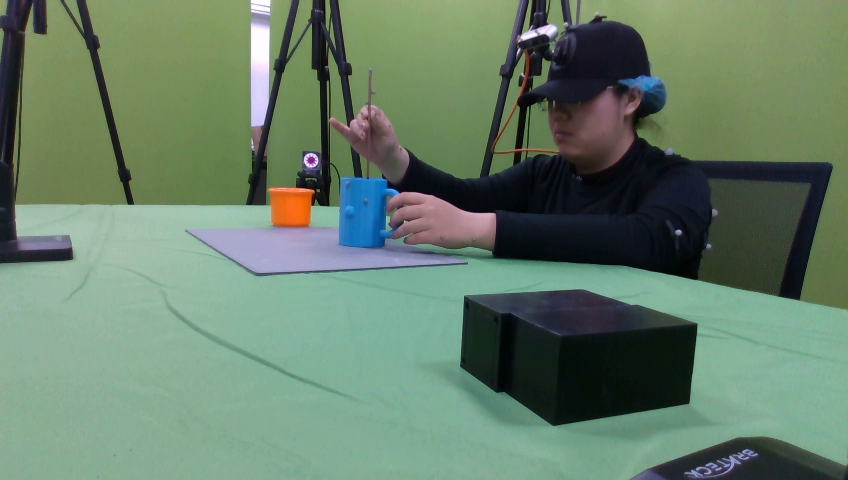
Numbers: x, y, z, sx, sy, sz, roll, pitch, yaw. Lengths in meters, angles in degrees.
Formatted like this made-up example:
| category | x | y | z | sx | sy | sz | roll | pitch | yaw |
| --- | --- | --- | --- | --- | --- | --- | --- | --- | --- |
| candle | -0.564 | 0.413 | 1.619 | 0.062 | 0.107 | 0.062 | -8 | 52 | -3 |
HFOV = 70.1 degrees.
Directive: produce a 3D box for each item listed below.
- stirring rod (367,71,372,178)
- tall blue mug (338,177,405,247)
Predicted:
| category | x | y | z | sx | sy | sz | roll | pitch | yaw |
| --- | --- | --- | --- | --- | --- | --- | --- | --- | --- |
| stirring rod | -0.089 | -0.188 | 0.983 | 0.006 | 0.176 | 0.014 | 1 | -2 | -10 |
| tall blue mug | -0.083 | -0.046 | 0.977 | 0.107 | 0.108 | 0.078 | 3 | 6 | -1 |
